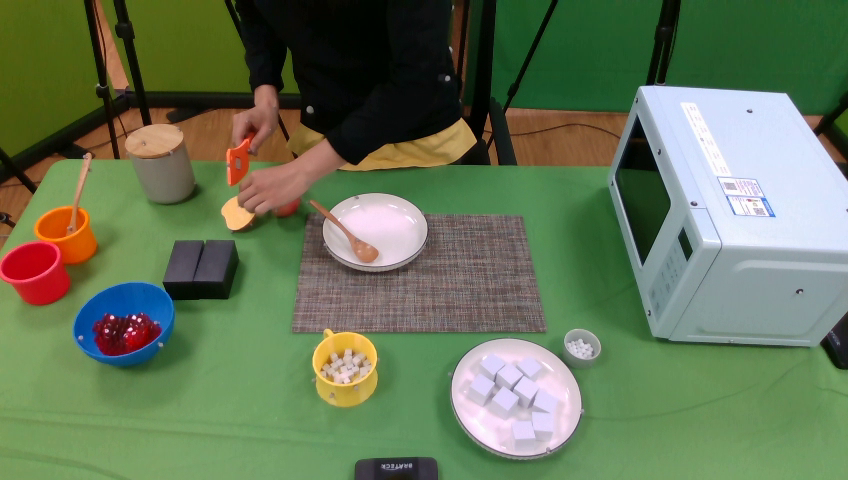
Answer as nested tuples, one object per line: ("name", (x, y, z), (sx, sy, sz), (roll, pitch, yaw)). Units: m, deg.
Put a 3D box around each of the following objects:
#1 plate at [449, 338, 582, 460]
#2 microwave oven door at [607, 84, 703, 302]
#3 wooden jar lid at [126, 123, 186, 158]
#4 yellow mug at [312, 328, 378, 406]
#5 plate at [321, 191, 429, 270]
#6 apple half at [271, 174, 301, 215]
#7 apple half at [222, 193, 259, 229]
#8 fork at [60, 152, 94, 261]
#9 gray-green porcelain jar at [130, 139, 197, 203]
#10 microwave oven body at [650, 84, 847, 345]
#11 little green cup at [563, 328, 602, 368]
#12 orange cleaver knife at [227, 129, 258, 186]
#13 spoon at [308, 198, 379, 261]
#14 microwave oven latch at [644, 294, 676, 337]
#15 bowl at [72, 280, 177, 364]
("plate", (0.141, 0.251, 0.956), (0.208, 0.039, 0.206), (2, 46, -2))
("microwave oven door", (0.423, -0.096, 1.137), (0.039, 0.245, 0.353), (3, 46, -1))
("wooden jar lid", (-0.519, -0.190, 1.179), (0.108, 0.021, 0.107), (2, 44, -2))
("yellow mug", (-0.132, 0.193, 0.971), (0.100, 0.064, 0.130), (-22, 51, -22))
("plate", (-0.094, -0.015, 1.185), (0.209, 0.038, 0.208), (2, 46, -2))
("apple half", (-0.276, -0.090, 1.225), (0.053, 0.075, 0.080), (1, 43, -7))
("apple half", (-0.358, -0.054, 1.207), (0.081, 0.033, 0.081), (-6, 64, 13))
("fork", (-0.638, -0.063, 1.119), (0.028, 0.018, 0.207), (12, 90, 9))
("gray-green porcelain jar", (-0.522, -0.147, 1.225), (0.106, 0.127, 0.105), (2, 47, -2))
("microwave oven body", (0.569, -0.054, 1.116), (0.326, 0.261, 0.439), (2, 46, -1))
("little green cup", (0.266, 0.185, 1.025), (0.061, 0.039, 0.061), (1, 45, -1))
("orange cleaver knife", (-0.356, -0.167, 1.195), (0.012, 0.077, 0.210), (1, 25, 0))
("spoon", (-0.159, -0.025, 1.172), (0.041, 0.022, 0.193), (-38, 71, -25))
("microwave oven latch", (0.411, 0.132, 1.061), (0.030, 0.029, 0.078), (1, 46, -2))
("bowl", (-0.473, 0.147, 0.982), (0.151, 0.077, 0.150), (2, 46, -2))
